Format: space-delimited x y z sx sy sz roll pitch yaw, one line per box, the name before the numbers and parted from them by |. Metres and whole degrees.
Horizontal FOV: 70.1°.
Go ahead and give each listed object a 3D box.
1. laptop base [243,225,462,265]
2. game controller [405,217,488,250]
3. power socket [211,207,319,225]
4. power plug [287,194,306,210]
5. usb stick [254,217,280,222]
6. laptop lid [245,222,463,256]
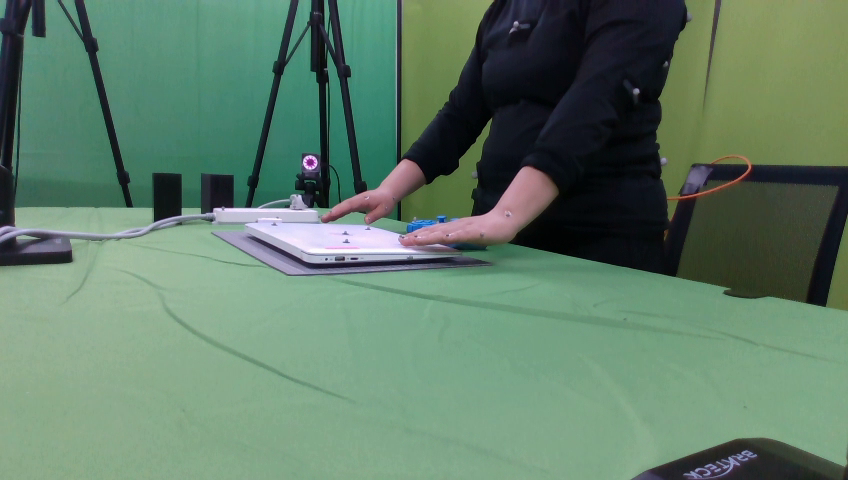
laptop base | -0.129 0.007 0.952 0.237 0.023 0.352 2 6 -30
game controller | 0.035 -0.013 1.067 0.097 0.051 0.154 -6 10 -29
power socket | -0.334 -0.051 1.281 0.228 0.032 0.072 -1 9 -29
power plug | -0.282 -0.075 1.342 0.035 0.052 0.072 0 3 -18
usb stick | -0.296 -0.028 1.114 0.059 0.027 0.021 -4 12 -30
laptop lid | -0.126 -0.005 0.951 0.243 0.013 0.355 1 7 -28
